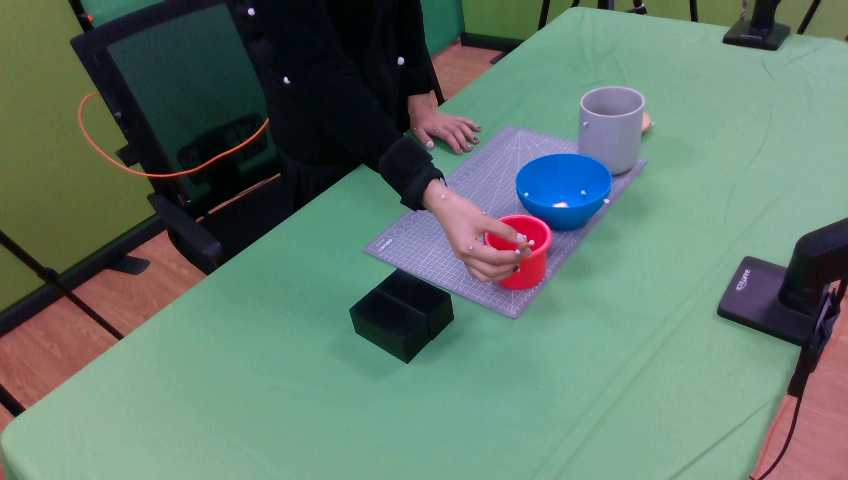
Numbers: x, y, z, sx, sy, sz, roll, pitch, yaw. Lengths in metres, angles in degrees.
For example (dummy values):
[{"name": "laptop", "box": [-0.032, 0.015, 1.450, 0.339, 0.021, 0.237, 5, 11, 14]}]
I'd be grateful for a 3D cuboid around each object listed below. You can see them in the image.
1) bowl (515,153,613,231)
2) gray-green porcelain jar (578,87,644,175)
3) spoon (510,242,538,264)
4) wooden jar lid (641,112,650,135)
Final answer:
[{"name": "bowl", "box": [0.225, -0.068, 0.972, 0.151, 0.077, 0.150, -5, 40, 5]}, {"name": "gray-green porcelain jar", "box": [0.324, -0.185, 1.055, 0.106, 0.127, 0.105, -5, 41, 5]}, {"name": "spoon", "box": [0.137, 0.015, 0.827, 0.041, 0.194, 0.021, -8, 80, 8]}, {"name": "wooden jar lid", "box": [0.382, -0.225, 1.178, 0.108, 0.021, 0.108, -5, 40, 4]}]
